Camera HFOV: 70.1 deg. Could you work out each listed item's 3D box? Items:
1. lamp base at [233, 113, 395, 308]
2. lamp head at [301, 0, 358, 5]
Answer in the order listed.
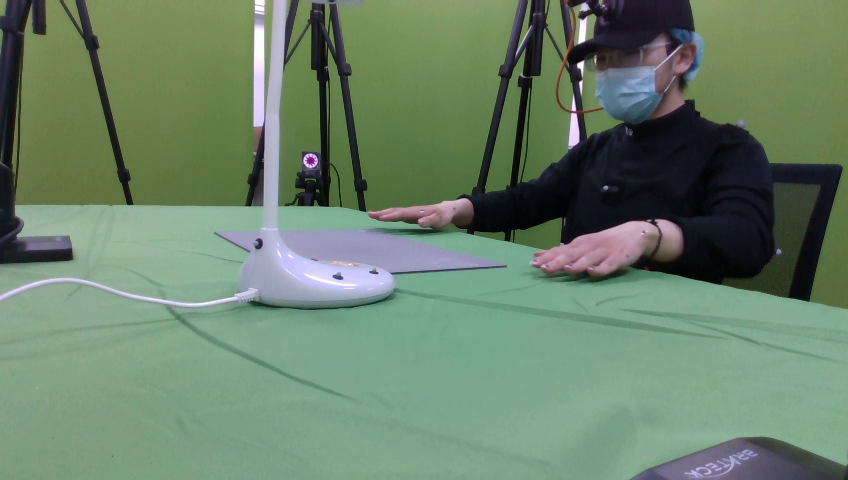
[{"bbox_3d":[-0.113,-0.033,0.600,0.160,0.180,0.180,6,11,28],"label":"lamp base"},{"bbox_3d":[-0.095,-0.314,0.610,0.112,0.123,0.112,-4,50,5],"label":"lamp head"}]
